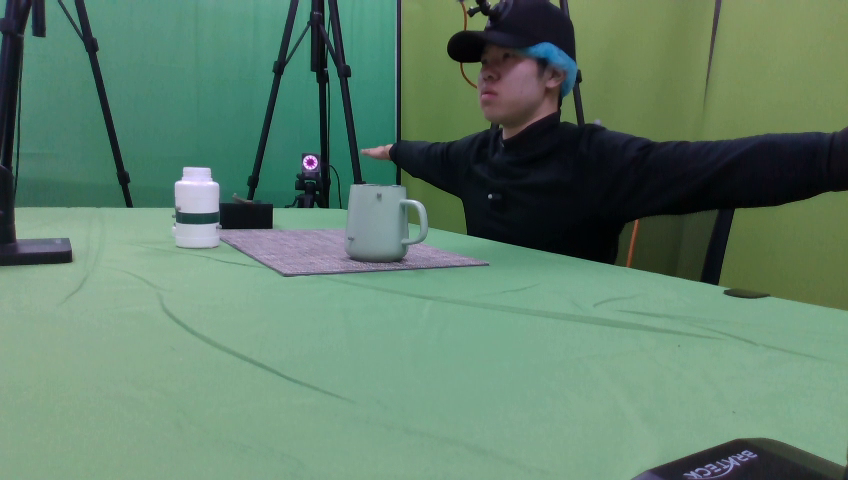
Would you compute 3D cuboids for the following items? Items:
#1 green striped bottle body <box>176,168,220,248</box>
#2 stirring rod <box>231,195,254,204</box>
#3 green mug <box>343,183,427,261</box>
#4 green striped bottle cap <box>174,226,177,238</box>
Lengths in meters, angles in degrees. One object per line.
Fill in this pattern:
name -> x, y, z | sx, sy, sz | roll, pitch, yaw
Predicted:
green striped bottle body -> -0.345, -0.050, 0.924 | 0.063, 0.119, 0.063 | 2, 7, 0
stirring rod -> -0.373, -0.083, 1.235 | 0.014, 0.006, 0.175 | 1, 8, -28
green mug -> -0.053, -0.026, 0.847 | 0.125, 0.105, 0.093 | 6, 8, 27
green striped bottle cap -> -0.404, -0.015, 1.036 | 0.044, 0.020, 0.044 | -1, 9, 1
